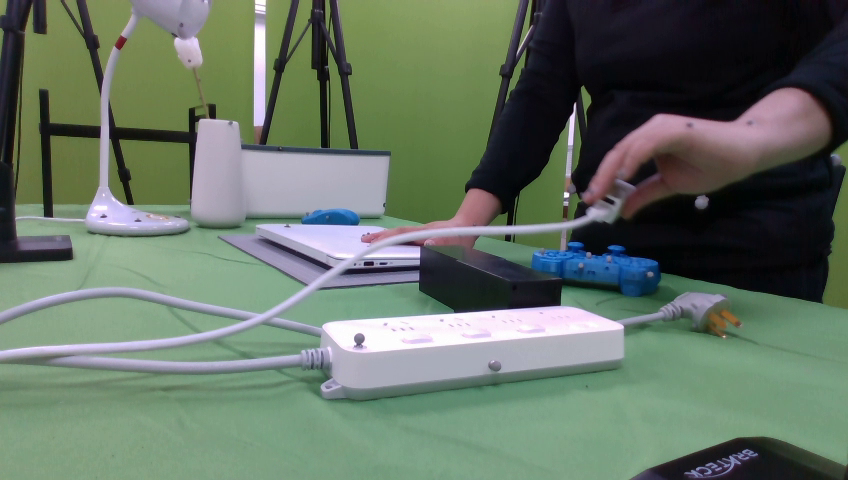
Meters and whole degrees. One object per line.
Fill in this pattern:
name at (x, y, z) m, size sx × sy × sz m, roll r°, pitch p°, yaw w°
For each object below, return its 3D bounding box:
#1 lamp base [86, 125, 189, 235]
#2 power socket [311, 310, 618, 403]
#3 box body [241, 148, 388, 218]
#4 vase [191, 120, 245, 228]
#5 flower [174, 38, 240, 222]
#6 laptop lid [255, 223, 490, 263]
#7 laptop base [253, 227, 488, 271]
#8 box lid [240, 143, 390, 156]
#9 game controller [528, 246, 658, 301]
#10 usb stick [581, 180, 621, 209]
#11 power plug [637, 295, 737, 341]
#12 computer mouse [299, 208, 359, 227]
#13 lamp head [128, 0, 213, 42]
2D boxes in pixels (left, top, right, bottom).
lamp base at (-0.497, -0.105, 1.027) m, size 0.179 × 0.180 × 0.160 m, roll 1°, pitch 7°, yaw 3°
power socket at (0.034, 0.075, 0.415) m, size 0.228 × 0.032 × 0.072 m, roll -1°, pitch 7°, yaw -24°
box body at (-0.297, -0.143, 1.474) m, size 0.366 × 0.160 × 0.253 m, roll -1°, pitch 9°, yaw -30°
vase at (-0.389, -0.123, 1.142) m, size 0.098 × 0.200 × 0.098 m, roll 3°, pitch 9°, yaw 0°
flower at (-0.401, -0.207, 1.141) m, size 0.038 × 0.361 × 0.044 m, roll -14°, pitch 3°, yaw 43°
laptop lid at (-0.093, 0.001, 0.911) m, size 0.243 × 0.013 × 0.355 m, roll 2°, pitch 7°, yaw -30°
laptop base at (-0.096, 0.012, 0.911) m, size 0.237 × 0.023 × 0.352 m, roll 2°, pitch 7°, yaw -32°
box lid at (-0.295, -0.217, 1.463) m, size 0.373 × 0.015 × 0.262 m, roll -1°, pitch 8°, yaw -30°
game controller at (0.202, 0.036, 0.733) m, size 0.155 × 0.051 × 0.097 m, roll 5°, pitch 11°, yaw 19°
usb stick at (0.169, -0.043, 0.571) m, size 0.027 × 0.021 × 0.059 m, roll -11°, pitch 2°, yaw 28°
power plug at (0.234, 0.077, 0.535) m, size 0.072 × 0.035 × 0.052 m, roll -33°, pitch 39°, yaw -5°
computer mouse at (-0.195, -0.045, 1.241) m, size 0.117 × 0.041 × 0.063 m, roll 0°, pitch 10°, yaw 11°
lamp head at (-0.423, -0.394, 0.980) m, size 0.123 × 0.112 × 0.112 m, roll 20°, pitch 7°, yaw -3°
